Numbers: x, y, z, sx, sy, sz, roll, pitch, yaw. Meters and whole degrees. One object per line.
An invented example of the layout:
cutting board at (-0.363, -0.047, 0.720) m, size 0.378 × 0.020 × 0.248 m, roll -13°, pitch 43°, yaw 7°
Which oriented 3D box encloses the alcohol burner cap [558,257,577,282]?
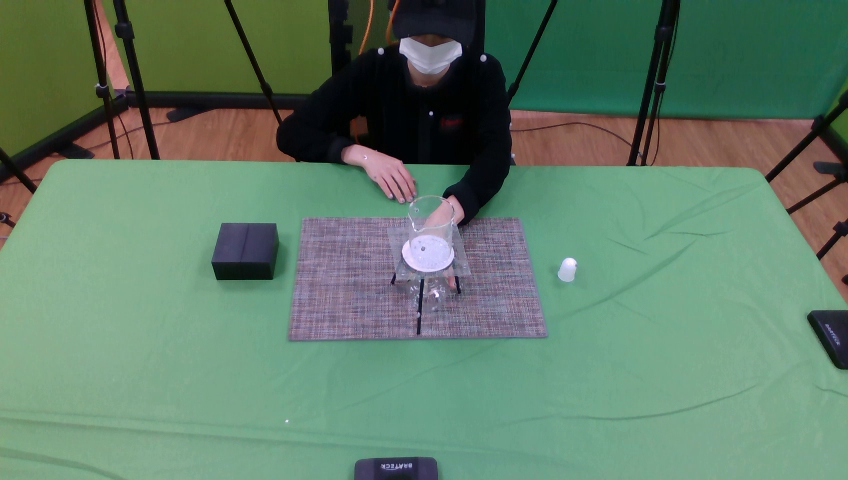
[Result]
alcohol burner cap at (0.276, 0.053, 1.154) m, size 0.034 × 0.048 × 0.033 m, roll 2°, pitch 46°, yaw -2°

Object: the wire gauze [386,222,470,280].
wire gauze at (0.005, 0.018, 1.006) m, size 0.125 × 0.011 × 0.120 m, roll -7°, pitch 45°, yaw -5°

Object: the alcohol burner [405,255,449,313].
alcohol burner at (0.006, 0.071, 1.060) m, size 0.078 × 0.120 × 0.077 m, roll 1°, pitch 45°, yaw -1°

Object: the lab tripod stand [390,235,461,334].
lab tripod stand at (-0.001, 0.067, 1.050) m, size 0.148 × 0.132 × 0.147 m, roll 1°, pitch 47°, yaw -1°

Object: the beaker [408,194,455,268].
beaker at (0.009, -0.010, 0.965) m, size 0.074 × 0.101 × 0.084 m, roll 23°, pitch 50°, yaw 20°
